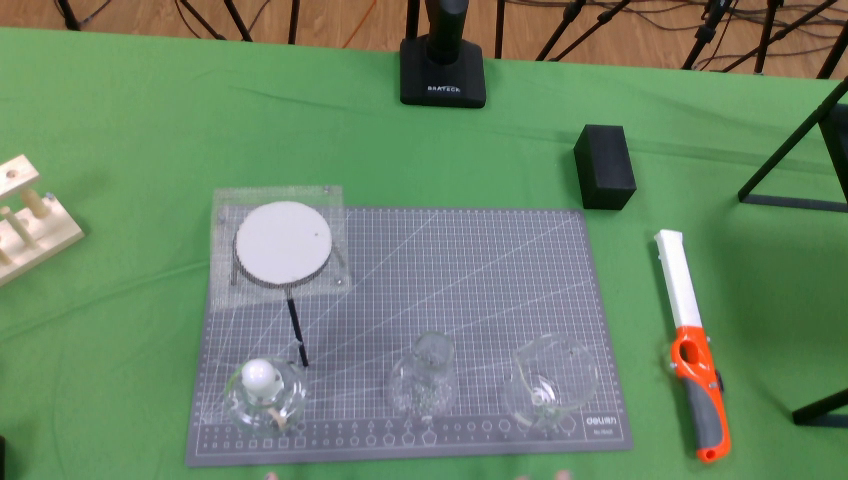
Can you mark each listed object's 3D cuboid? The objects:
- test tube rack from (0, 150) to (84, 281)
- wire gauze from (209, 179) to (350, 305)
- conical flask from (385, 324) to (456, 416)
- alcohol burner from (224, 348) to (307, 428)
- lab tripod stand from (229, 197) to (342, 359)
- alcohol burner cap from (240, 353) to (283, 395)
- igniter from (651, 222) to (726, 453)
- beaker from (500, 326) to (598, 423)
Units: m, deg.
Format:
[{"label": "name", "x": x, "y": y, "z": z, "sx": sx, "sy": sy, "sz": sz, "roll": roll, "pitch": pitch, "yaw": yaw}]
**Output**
[{"label": "test tube rack", "x": -0.489, "y": 0.016, "z": 0.609, "sx": 0.242, "sy": 0.086, "sz": 0.066, "roll": -38, "pitch": 72, "yaw": -24}, {"label": "wire gauze", "x": -0.134, "y": -0.004, "z": 0.557, "sx": 0.122, "sy": 0.011, "sz": 0.124, "roll": -4, "pitch": 63, "yaw": -10}, {"label": "conical flask", "x": 0.002, "y": 0.120, "z": 0.589, "sx": 0.075, "sy": 0.123, "sz": 0.074, "roll": 3, "pitch": 60, "yaw": -5}, {"label": "alcohol burner", "x": -0.149, "y": 0.134, "z": 0.568, "sx": 0.078, "sy": 0.120, "sz": 0.077, "roll": 4, "pitch": 59, "yaw": -7}, {"label": "lab tripod stand", "x": -0.138, "y": 0.032, "z": 0.614, "sx": 0.149, "sy": 0.132, "sz": 0.147, "roll": 4, "pitch": 61, "yaw": -7}, {"label": "alcohol burner cap", "x": -0.146, "y": 0.117, "z": 0.536, "sx": 0.034, "sy": 0.048, "sz": 0.033, "roll": 1, "pitch": 65, "yaw": -2}, {"label": "igniter", "x": 0.300, "y": 0.102, "z": 0.695, "sx": 0.057, "sy": 0.025, "sz": 0.274, "roll": 9, "pitch": 60, "yaw": -14}, {"label": "beaker", "x": 0.117, "y": 0.138, "z": 0.607, "sx": 0.084, "sy": 0.101, "sz": 0.073, "roll": 22, "pitch": 60, "yaw": 6}]
